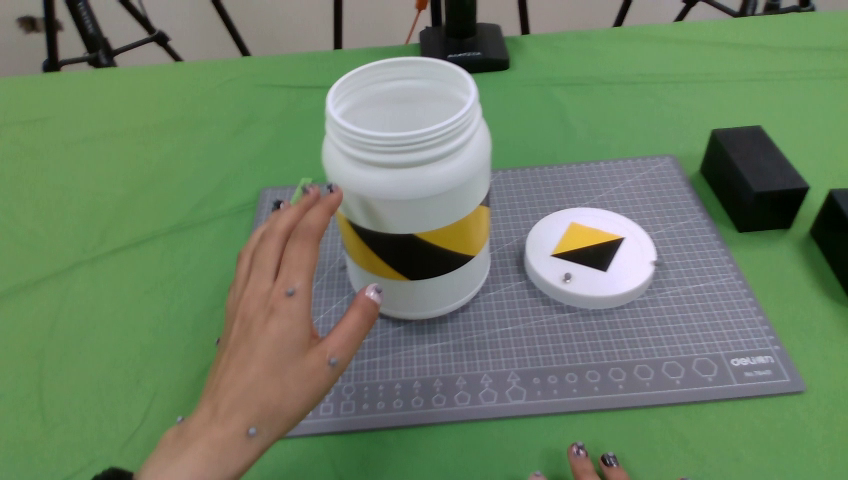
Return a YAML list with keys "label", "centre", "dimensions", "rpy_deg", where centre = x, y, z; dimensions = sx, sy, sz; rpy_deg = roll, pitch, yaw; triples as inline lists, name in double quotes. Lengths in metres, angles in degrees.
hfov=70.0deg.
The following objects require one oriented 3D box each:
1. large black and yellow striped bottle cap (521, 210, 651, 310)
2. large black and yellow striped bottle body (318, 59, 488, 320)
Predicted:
- label: "large black and yellow striped bottle cap"
  centre: [0.145, 0.014, 0.549]
  dimensions: [0.115, 0.019, 0.114]
  rpy_deg: [-2, 43, 2]
- label: "large black and yellow striped bottle body"
  centre: [-0.013, -0.039, 0.495]
  dimensions: [0.131, 0.186, 0.129]
  rpy_deg: [-3, 44, 3]
